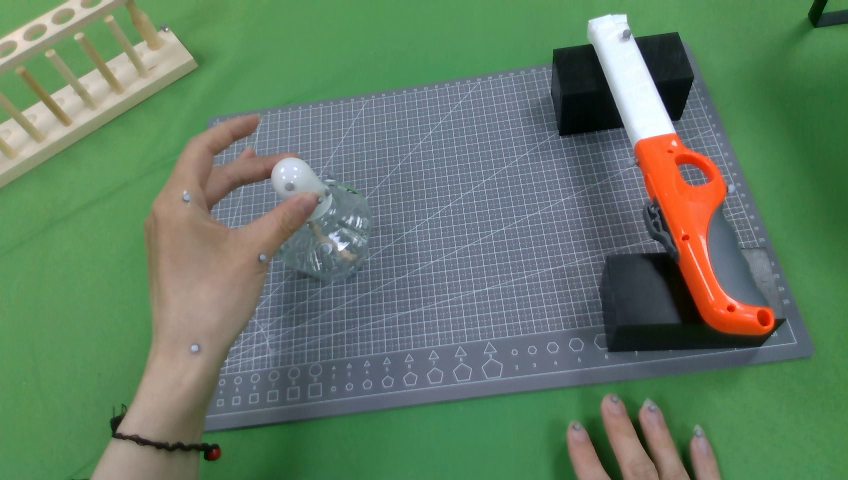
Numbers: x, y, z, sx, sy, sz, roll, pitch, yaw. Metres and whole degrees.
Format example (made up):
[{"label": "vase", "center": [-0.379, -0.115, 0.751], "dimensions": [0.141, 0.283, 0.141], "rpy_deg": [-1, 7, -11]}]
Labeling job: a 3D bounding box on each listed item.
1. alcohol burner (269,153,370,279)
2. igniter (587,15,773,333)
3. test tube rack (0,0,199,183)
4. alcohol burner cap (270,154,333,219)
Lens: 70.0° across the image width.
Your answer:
[{"label": "alcohol burner", "center": [-0.081, -0.021, 0.442], "dimensions": [0.078, 0.120, 0.077], "rpy_deg": [-4, 59, 7]}, {"label": "igniter", "center": [0.166, -0.061, 0.421], "dimensions": [0.057, 0.025, 0.273], "rpy_deg": [-11, 58, 4]}, {"label": "test tube rack", "center": [-0.351, -0.153, 0.576], "dimensions": [0.242, 0.086, 0.066], "rpy_deg": [-36, 62, -12]}, {"label": "alcohol burner cap", "center": [-0.085, -0.039, 0.412], "dimensions": [0.034, 0.048, 0.033], "rpy_deg": [-5, 65, 11]}]
